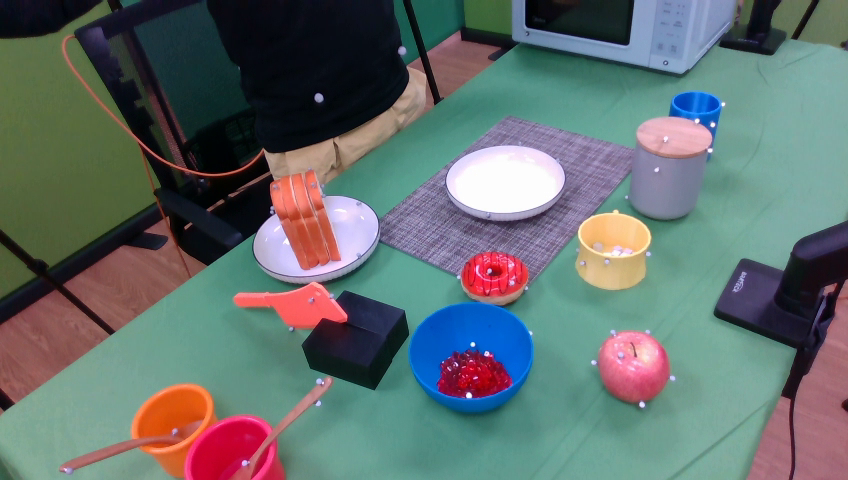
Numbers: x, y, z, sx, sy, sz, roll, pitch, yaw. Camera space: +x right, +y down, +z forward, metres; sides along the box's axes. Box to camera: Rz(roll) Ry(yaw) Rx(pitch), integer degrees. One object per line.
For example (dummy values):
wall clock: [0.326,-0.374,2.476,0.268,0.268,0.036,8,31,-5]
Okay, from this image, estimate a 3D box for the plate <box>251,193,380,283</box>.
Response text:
plate: [-0.173,-0.001,0.985,0.209,0.038,0.208,-4,41,4]

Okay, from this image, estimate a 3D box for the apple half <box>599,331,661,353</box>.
apple half: [0.249,0.134,0.738,0.081,0.081,0.032,-2,46,7]

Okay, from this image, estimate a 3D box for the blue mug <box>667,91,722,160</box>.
blue mug: [0.474,-0.207,1.079,0.082,0.106,0.116,4,42,13]

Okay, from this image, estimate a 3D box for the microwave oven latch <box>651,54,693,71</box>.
microwave oven latch: [0.531,-0.386,1.301,0.078,0.029,0.030,26,51,33]

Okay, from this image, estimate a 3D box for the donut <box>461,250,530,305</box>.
donut: [0.103,0.053,0.872,0.099,0.048,0.098,-5,40,4]

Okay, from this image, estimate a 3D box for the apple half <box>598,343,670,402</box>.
apple half: [0.247,0.161,0.710,0.081,0.075,0.053,2,47,5]

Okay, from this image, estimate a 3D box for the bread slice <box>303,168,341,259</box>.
bread slice: [-0.161,-0.046,0.952,0.018,0.135,0.106,-18,45,-7]

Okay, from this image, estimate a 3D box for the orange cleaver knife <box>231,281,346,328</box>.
orange cleaver knife: [-0.192,0.093,0.844,0.210,0.077,0.012,-7,31,38]

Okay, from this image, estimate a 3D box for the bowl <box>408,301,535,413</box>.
bowl: [0.060,0.156,0.739,0.151,0.077,0.150,-4,40,4]

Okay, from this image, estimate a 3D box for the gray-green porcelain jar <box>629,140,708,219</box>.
gray-green porcelain jar: [0.383,-0.105,0.958,0.106,0.127,0.105,-4,41,4]

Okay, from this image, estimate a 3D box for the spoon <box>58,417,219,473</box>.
spoon: [-0.304,0.221,0.661,0.041,0.021,0.195,19,2,27]

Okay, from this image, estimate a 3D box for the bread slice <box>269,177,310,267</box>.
bread slice: [-0.211,-0.034,0.946,0.019,0.132,0.104,-19,39,-3]

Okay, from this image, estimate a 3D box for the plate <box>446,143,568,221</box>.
plate: [0.142,-0.097,1.045,0.207,0.039,0.206,-4,40,4]

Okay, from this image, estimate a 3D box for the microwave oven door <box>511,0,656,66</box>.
microwave oven door: [0.351,-0.540,1.349,0.353,0.245,0.039,24,50,31]

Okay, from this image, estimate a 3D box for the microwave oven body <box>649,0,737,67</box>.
microwave oven body: [0.475,-0.602,1.411,0.438,0.261,0.327,23,50,32]

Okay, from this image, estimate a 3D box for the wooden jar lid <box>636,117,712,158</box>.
wooden jar lid: [0.377,-0.151,0.917,0.108,0.021,0.108,-2,41,3]

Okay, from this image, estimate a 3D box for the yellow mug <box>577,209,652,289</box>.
yellow mug: [0.279,0.004,0.893,0.099,0.064,0.130,5,41,15]

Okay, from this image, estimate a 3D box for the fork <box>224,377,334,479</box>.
fork: [-0.164,0.216,0.646,0.207,0.019,0.028,-49,42,16]
